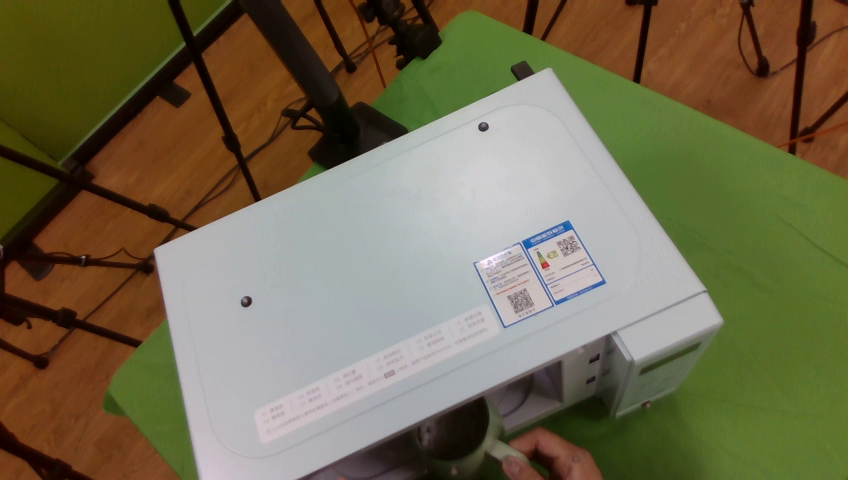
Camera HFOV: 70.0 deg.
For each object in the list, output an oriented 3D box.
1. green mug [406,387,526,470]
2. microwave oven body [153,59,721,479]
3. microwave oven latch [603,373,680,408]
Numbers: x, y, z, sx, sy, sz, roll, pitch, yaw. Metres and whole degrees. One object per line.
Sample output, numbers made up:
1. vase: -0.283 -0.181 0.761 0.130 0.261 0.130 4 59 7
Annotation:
1. green mug: 0.042 0.185 0.598 0.124 0.106 0.092 24 72 18
2. microwave oven body: 0.003 0.071 0.648 0.442 0.262 0.323 -25 62 0
3. microwave oven latch: 0.238 0.155 0.665 0.079 0.030 0.030 -24 62 1
